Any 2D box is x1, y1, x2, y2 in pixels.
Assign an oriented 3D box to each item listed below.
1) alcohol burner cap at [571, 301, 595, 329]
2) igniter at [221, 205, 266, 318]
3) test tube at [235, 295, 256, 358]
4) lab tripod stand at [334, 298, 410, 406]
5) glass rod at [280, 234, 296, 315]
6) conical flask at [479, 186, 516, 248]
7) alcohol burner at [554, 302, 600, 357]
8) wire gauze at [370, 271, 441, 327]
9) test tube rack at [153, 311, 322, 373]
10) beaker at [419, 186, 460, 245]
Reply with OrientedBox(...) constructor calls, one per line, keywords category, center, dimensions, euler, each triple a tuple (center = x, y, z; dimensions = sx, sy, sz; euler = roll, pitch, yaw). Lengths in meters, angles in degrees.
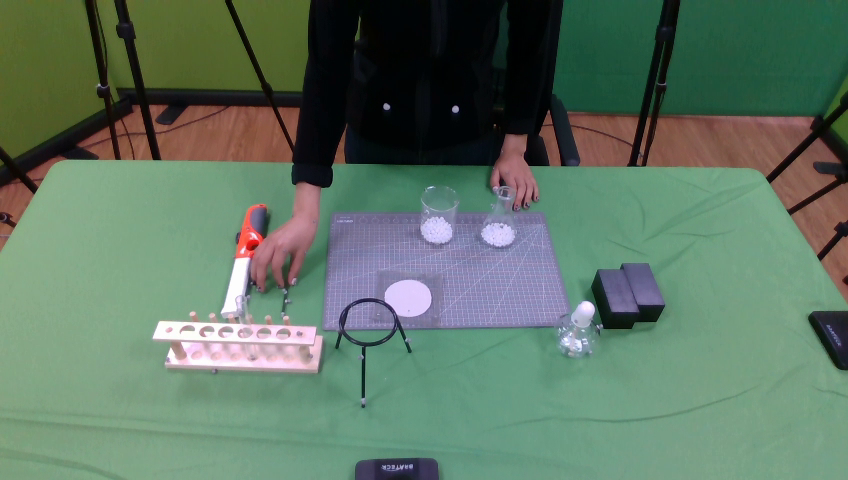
OrientedBox(category="alcohol burner cap", center=(0.262, 0.120, 0.991), dimensions=(0.034, 0.048, 0.033), euler=(2, 52, -2))
OrientedBox(category="igniter", center=(-0.337, 0.030, 1.140), dimensions=(0.057, 0.025, 0.274), euler=(-5, 46, 3))
OrientedBox(category="test tube", center=(-0.274, 0.136, 0.933), dimensions=(0.017, 0.151, 0.017), euler=(4, 46, -4))
OrientedBox(category="lab tripod stand", center=(-0.086, 0.164, 0.957), dimensions=(0.148, 0.132, 0.147), euler=(3, 44, -2))
OrientedBox(category="glass rod", center=(-0.253, 0.059, 1.131), dimensions=(0.008, 0.008, 0.198), euler=(0, 46, -3))
OrientedBox(category="conical flask", center=(0.150, -0.049, 1.186), dimensions=(0.075, 0.122, 0.075), euler=(2, 46, -2))
OrientedBox(category="alcohol burner", center=(0.260, 0.143, 1.018), dimensions=(0.078, 0.119, 0.077), euler=(3, 44, -3))
OrientedBox(category="wire gauze", center=(-0.032, 0.103, 1.105), dimensions=(0.125, 0.011, 0.121), euler=(4, 46, 3))
OrientedBox(category="test tube rack", center=(-0.293, 0.160, 0.978), dimensions=(0.242, 0.085, 0.066), euler=(3, 46, -2))
OrientedBox(category="beaker", center=(0.025, -0.047, 1.190), dimensions=(0.074, 0.101, 0.083), euler=(-29, 54, -28))
